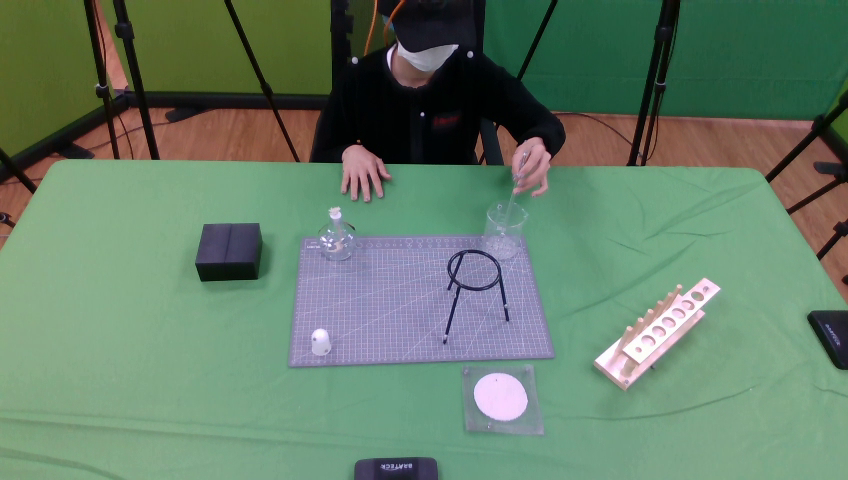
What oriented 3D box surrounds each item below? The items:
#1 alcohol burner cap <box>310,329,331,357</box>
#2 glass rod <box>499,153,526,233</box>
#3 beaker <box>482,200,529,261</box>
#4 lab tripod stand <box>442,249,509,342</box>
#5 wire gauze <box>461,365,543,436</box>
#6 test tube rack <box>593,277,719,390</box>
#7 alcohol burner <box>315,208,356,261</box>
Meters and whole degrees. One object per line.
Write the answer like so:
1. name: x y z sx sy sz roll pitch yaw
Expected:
1. alcohol burner cap: -0.173 0.168 1.005 0.034 0.048 0.033 2 46 -2
2. glass rod: 0.161 -0.082 1.116 0.008 0.200 0.008 5 48 -5
3. beaker: 0.153 -0.015 1.169 0.084 0.101 0.073 -2 46 -7
4. lab tripod stand: 0.082 0.091 1.036 0.148 0.132 0.147 3 44 -3
5. wire gauze: 0.124 0.254 0.973 0.125 0.011 0.120 3 47 -3
6. test tube rack: 0.401 0.148 1.043 0.242 0.085 0.066 -30 55 -29
7. alcohol burner: -0.166 -0.017 1.134 0.078 0.119 0.077 2 48 -2
